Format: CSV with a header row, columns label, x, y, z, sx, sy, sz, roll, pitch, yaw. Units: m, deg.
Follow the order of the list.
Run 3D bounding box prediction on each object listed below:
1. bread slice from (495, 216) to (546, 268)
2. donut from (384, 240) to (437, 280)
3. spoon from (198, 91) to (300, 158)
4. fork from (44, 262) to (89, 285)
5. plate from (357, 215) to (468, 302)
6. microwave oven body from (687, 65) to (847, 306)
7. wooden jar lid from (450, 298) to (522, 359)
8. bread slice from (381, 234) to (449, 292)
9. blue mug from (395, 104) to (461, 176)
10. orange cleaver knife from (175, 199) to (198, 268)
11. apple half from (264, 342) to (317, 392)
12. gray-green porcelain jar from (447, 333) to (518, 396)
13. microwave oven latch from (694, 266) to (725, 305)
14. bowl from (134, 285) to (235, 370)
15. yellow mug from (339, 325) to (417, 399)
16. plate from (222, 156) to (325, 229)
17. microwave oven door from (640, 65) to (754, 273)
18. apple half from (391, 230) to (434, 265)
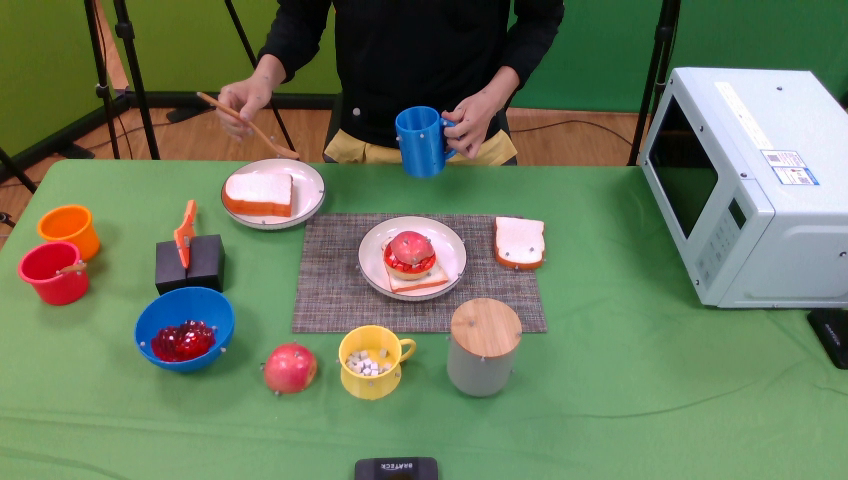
label,x,y,z,sx,sy,sz,roll,pitch,yaw
bread slice,0.194,0.002,1.205,0.105,0.019,0.131,5,45,2
donut,-0.025,0.029,1.109,0.099,0.048,0.098,3,46,-2
spoon,-0.297,-0.196,1.037,0.195,0.021,0.041,37,14,-28
fork,-0.598,0.054,1.014,0.207,0.019,0.028,-15,29,45
plate,-0.022,0.037,1.141,0.208,0.039,0.206,2,46,-2
microwave oven body,0.669,-0.111,1.176,0.326,0.261,0.439,0,46,-3
wooden jar lid,0.093,0.135,0.914,0.108,0.021,0.107,3,48,-3
bread slice,-0.026,0.039,1.140,0.107,0.018,0.133,-12,49,-16
blue mug,0.011,-0.186,1.122,0.116,0.106,0.082,-5,45,5
orange cleaver knife,-0.438,-0.017,1.138,0.012,0.077,0.210,-13,27,-7
apple half,-0.214,0.198,0.970,0.074,0.053,0.080,19,48,10
gray-green porcelain jar,0.091,0.178,0.960,0.106,0.127,0.105,2,46,-2
microwave oven latch,0.523,0.082,1.115,0.030,0.029,0.078,3,46,0
bowl,-0.377,0.155,0.981,0.151,0.077,0.150,2,46,-2
yellow mug,-0.072,0.190,0.978,0.131,0.064,0.099,-17,50,-20
plate,-0.308,-0.095,1.251,0.209,0.038,0.208,2,46,-2
microwave oven door,0.523,-0.147,1.193,0.039,0.245,0.353,0,47,-3
apple half,-0.021,0.004,1.085,0.081,0.033,0.081,7,44,-6
